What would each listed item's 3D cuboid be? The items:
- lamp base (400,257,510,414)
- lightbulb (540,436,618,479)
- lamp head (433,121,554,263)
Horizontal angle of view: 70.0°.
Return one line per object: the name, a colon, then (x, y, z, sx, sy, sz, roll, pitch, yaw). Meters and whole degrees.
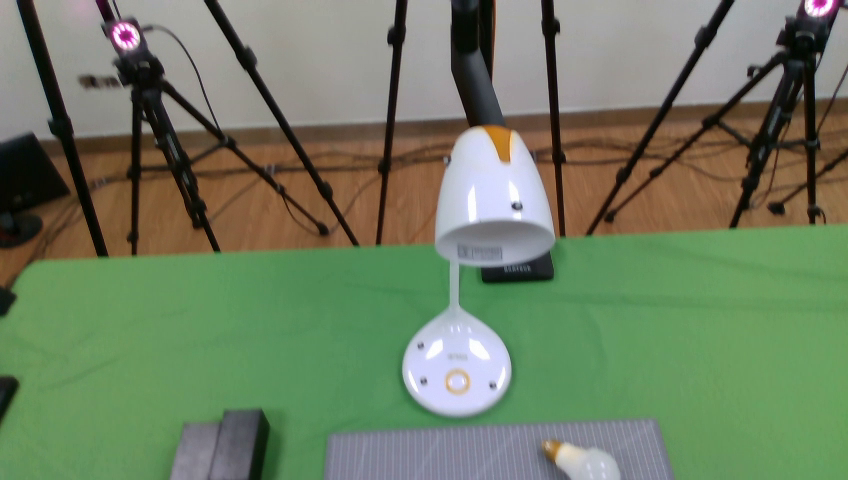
lamp base: (0.040, 0.120, 0.841, 0.161, 0.182, 0.177, -7, 45, -3)
lightbulb: (0.194, 0.282, 0.769, 0.106, 0.060, 0.059, 21, 50, 41)
lamp head: (0.061, -0.048, 0.580, 0.112, 0.113, 0.122, -3, 62, 0)
